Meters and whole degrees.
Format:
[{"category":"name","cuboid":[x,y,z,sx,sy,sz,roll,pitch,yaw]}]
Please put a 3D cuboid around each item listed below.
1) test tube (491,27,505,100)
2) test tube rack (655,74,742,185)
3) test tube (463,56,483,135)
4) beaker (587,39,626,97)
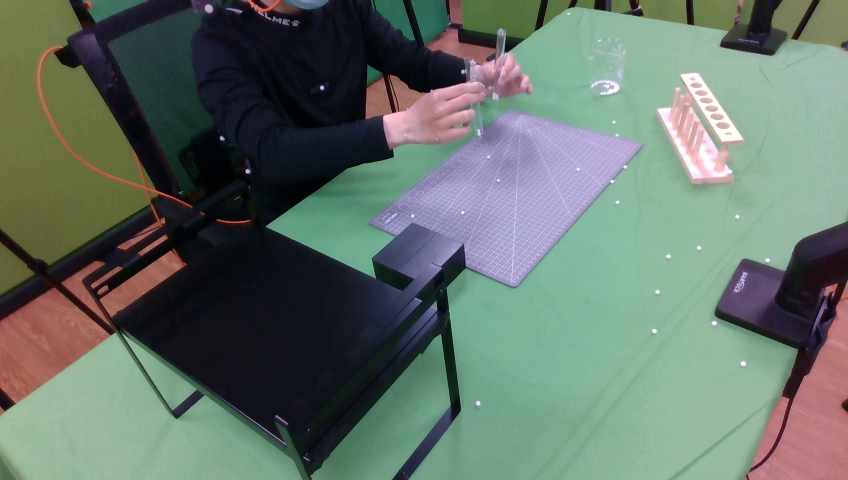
[{"category":"test tube","cuboid":[0.134,-0.319,1.105,0.017,0.151,0.017,-1,52,1]},{"category":"test tube rack","cuboid":[0.488,-0.205,1.093,0.067,0.085,0.241,-3,41,5]},{"category":"test tube","cuboid":[0.084,-0.241,1.024,0.017,0.151,0.017,-7,45,8]},{"category":"beaker","cuboid":[0.386,-0.361,1.280,0.074,0.101,0.083,-22,43,-15]}]
